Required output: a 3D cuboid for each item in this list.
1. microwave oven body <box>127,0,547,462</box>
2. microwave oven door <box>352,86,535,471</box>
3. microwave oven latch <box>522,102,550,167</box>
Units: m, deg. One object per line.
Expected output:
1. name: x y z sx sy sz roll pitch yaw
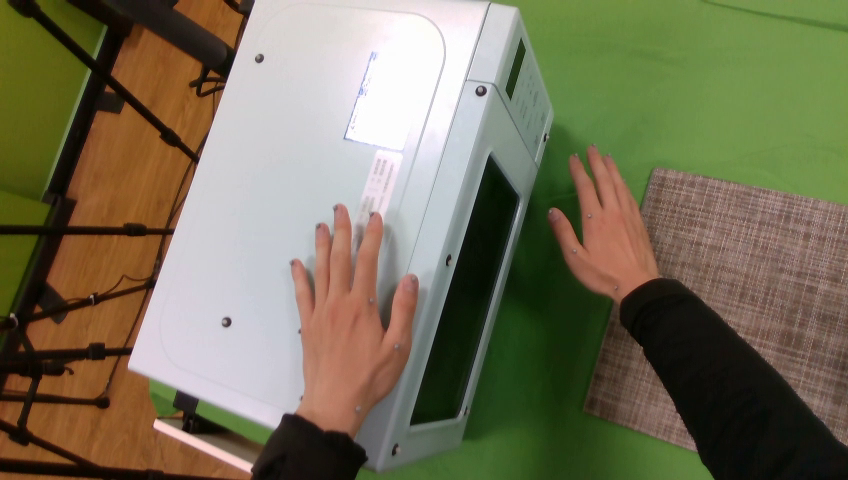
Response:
1. microwave oven body: -0.081 -0.020 0.704 0.324 0.262 0.440 14 84 22
2. microwave oven door: 0.035 0.052 0.640 0.039 0.246 0.355 14 83 23
3. microwave oven latch: 0.136 -0.134 0.756 0.030 0.030 0.079 15 84 22
